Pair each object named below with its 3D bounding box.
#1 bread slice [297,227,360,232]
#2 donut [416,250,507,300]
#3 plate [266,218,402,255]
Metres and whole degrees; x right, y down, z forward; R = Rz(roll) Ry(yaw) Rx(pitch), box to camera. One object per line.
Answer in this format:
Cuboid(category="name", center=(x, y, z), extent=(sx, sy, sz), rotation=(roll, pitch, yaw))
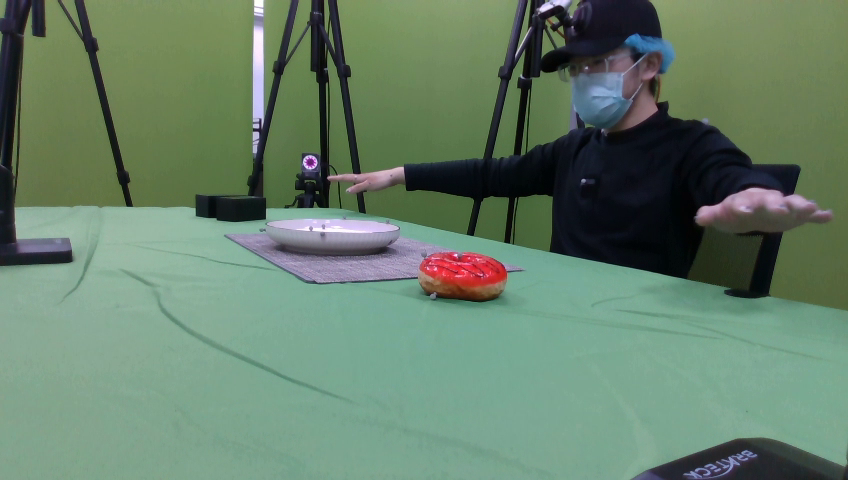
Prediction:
Cuboid(category="bread slice", center=(-0.142, -0.005, 0.939), extent=(0.131, 0.019, 0.105), rotation=(8, 8, 33))
Cuboid(category="donut", center=(0.041, 0.038, 0.650), extent=(0.099, 0.048, 0.099), rotation=(4, 9, 0))
Cuboid(category="plate", center=(-0.138, -0.006, 0.941), extent=(0.208, 0.039, 0.207), rotation=(2, 7, 0))
